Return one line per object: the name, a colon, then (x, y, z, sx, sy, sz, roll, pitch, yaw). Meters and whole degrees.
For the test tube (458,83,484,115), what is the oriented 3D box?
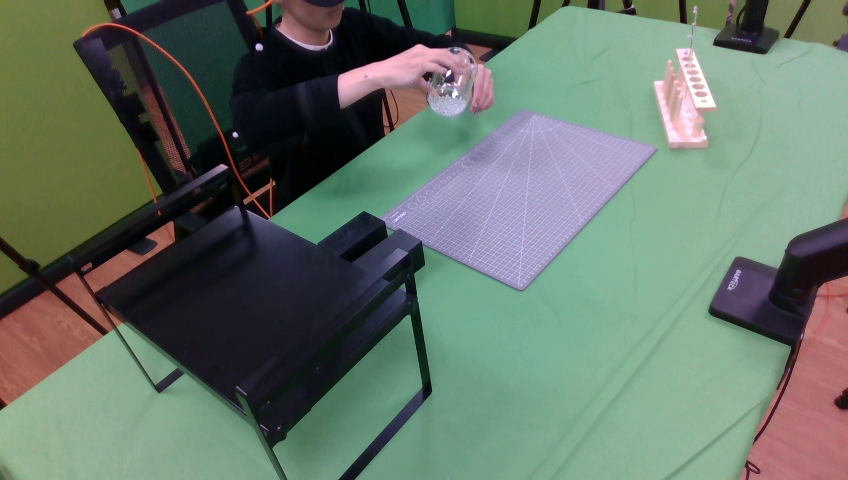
test tube: (0.091, -0.264, 1.139, 0.017, 0.151, 0.017, -2, 84, 19)

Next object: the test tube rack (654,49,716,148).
test tube rack: (0.502, -0.281, 1.176, 0.066, 0.085, 0.241, 2, 41, 11)

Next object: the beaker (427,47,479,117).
beaker: (0.048, -0.261, 1.014, 0.073, 0.084, 0.100, 3, 50, 17)

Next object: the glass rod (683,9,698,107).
glass rod: (0.501, -0.336, 1.139, 0.008, 0.201, 0.008, -8, 42, 8)
